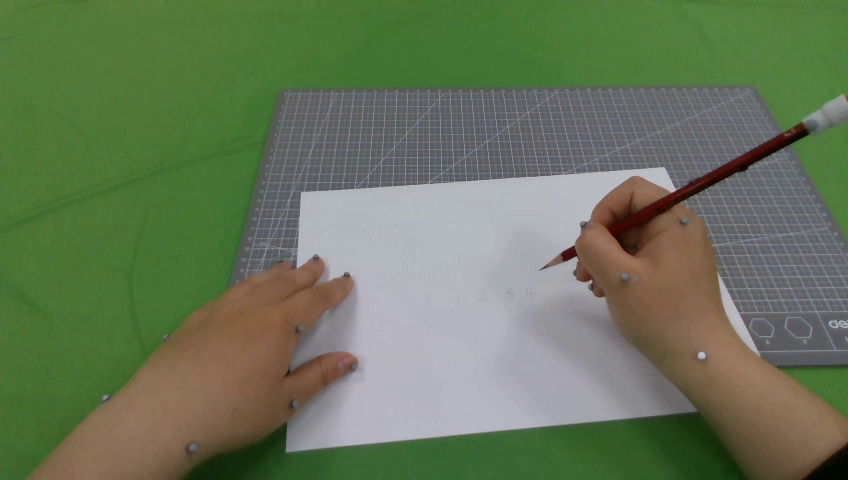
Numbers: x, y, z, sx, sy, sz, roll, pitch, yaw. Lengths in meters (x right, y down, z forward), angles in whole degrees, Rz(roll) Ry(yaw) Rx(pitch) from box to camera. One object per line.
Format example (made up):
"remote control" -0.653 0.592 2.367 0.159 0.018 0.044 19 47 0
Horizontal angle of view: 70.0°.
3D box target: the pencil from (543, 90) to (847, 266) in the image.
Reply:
"pencil" 0.140 -0.026 0.334 0.012 0.194 0.012 26 47 -32
